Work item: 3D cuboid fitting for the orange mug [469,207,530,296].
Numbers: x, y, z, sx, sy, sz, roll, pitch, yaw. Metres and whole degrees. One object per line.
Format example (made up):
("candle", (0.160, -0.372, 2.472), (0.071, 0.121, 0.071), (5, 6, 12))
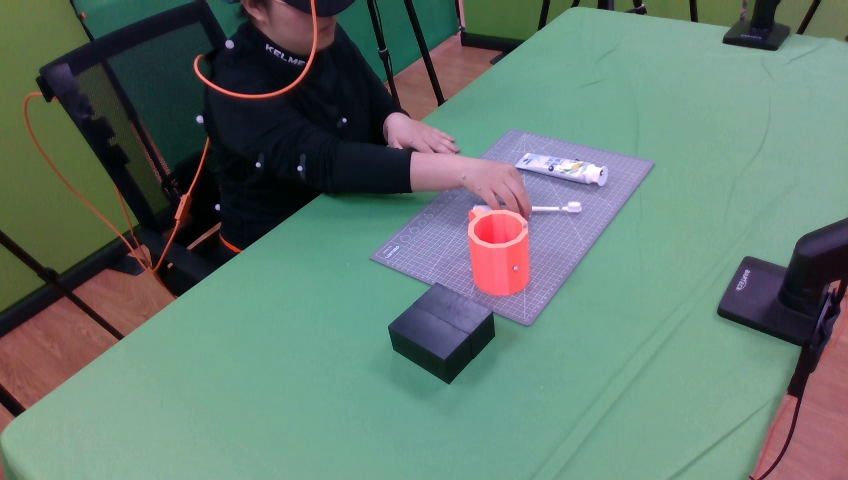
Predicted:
("orange mug", (0.104, 0.008, 0.894), (0.084, 0.101, 0.125), (-22, 46, -14))

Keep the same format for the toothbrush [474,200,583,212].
("toothbrush", (0.174, -0.055, 1.017), (0.181, 0.017, 0.014), (-2, 56, 11))

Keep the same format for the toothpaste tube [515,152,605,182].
("toothpaste tube", (0.249, -0.133, 1.087), (0.164, 0.034, 0.055), (17, 42, 34))

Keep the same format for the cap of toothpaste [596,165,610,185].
("cap of toothpaste", (0.307, -0.113, 1.041), (0.011, 0.037, 0.037), (20, 48, 39))
